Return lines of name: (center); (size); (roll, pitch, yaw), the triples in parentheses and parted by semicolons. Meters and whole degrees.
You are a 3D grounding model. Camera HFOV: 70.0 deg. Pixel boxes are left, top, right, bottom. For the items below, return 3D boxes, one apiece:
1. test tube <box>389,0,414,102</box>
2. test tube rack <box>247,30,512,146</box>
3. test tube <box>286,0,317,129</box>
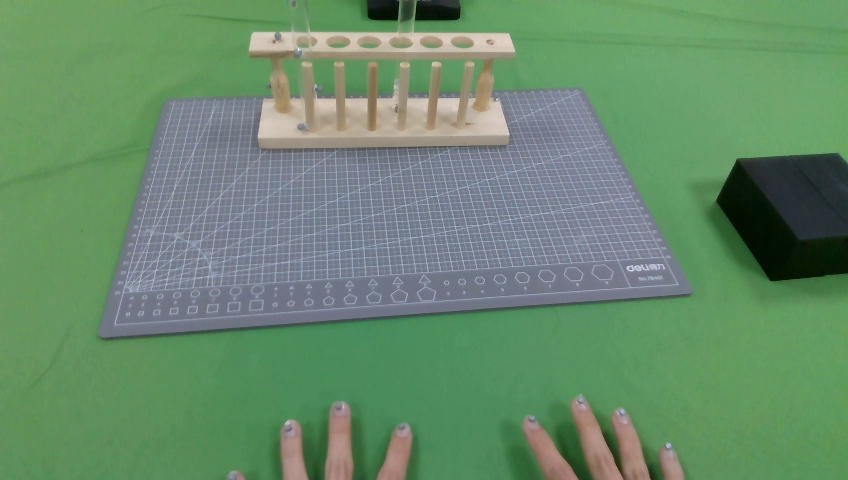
test tube: (-0.020, -0.194, 0.560); (0.017, 0.151, 0.017); (5, 45, -4)
test tube rack: (-0.040, -0.146, 0.582); (0.243, 0.086, 0.066); (-2, 47, -6)
test tube: (-0.107, -0.162, 0.531); (0.017, 0.152, 0.017); (2, 46, -2)
